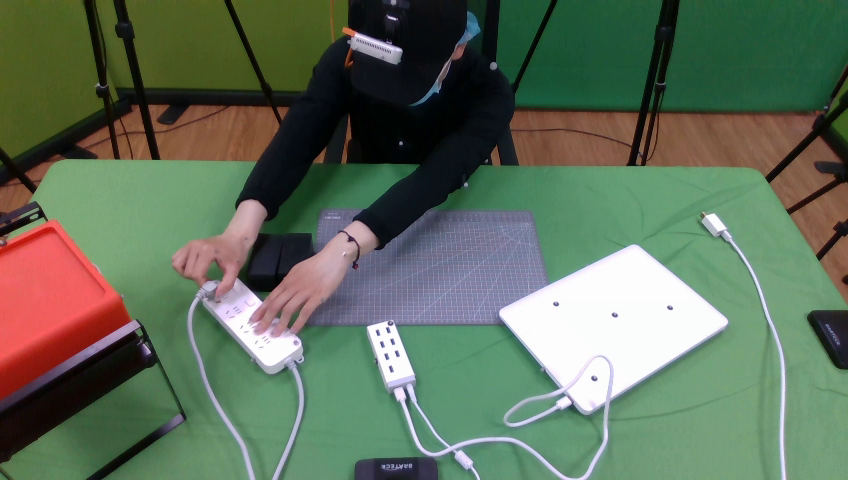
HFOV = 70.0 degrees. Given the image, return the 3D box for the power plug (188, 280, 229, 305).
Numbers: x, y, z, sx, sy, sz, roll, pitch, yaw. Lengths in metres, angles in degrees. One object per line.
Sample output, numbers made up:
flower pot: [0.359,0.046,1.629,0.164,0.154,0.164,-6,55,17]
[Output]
power plug: [-0.366,0.093,1.026,0.072,0.053,0.035,-29,58,-24]

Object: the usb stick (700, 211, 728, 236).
usb stick: [0.606,-0.038,1.273,0.027,0.021,0.059,-18,56,-20]

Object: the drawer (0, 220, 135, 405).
drawer: [-0.522,0.093,0.782,0.193,0.073,0.211,37,55,27]

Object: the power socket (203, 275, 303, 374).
power socket: [-0.295,0.141,1.034,0.072,0.033,0.225,-34,58,-30]

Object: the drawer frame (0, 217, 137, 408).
drawer frame: [-0.523,0.094,0.779,0.200,0.083,0.213,37,55,26]

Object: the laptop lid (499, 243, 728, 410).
laptop lid: [0.339,0.135,1.081,0.357,0.013,0.240,-21,50,-23]

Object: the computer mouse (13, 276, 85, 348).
computer mouse: [-0.496,0.090,0.804,0.063,0.041,0.116,-7,42,-7]

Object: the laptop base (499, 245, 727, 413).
laptop base: [0.339,0.145,1.088,0.354,0.023,0.234,-23,49,-24]

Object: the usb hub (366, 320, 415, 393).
usb hub: [-0.056,0.192,1.009,0.049,0.025,0.124,-12,49,-16]
